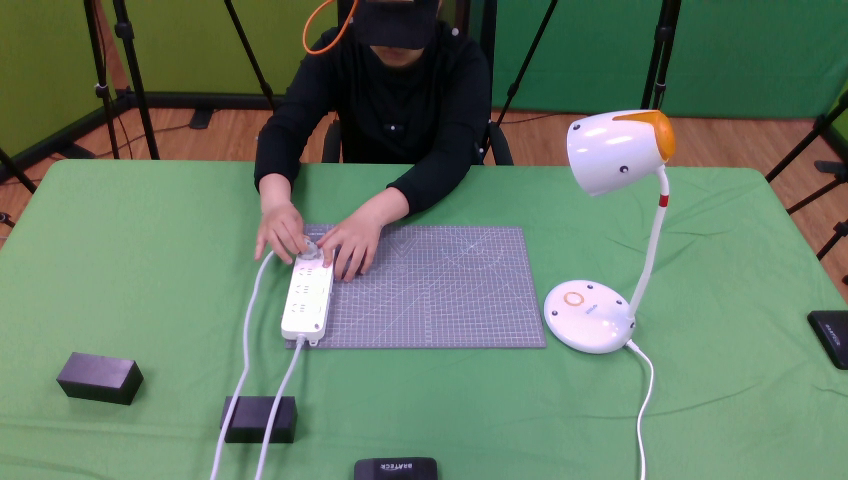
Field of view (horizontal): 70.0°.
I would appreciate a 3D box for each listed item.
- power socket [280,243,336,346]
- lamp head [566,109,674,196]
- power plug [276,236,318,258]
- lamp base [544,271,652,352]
[{"bbox_3d":[-0.205,0.087,1.086,0.072,0.033,0.225,3,46,-1],"label":"power socket"},{"bbox_3d":[0.272,-0.123,0.818,0.122,0.113,0.112,-9,35,37],"label":"lamp head"},{"bbox_3d":[-0.231,0.012,1.122,0.072,0.053,0.035,17,50,8],"label":"power plug"},{"bbox_3d":[0.309,0.086,1.029,0.178,0.181,0.160,32,52,21],"label":"lamp base"}]
